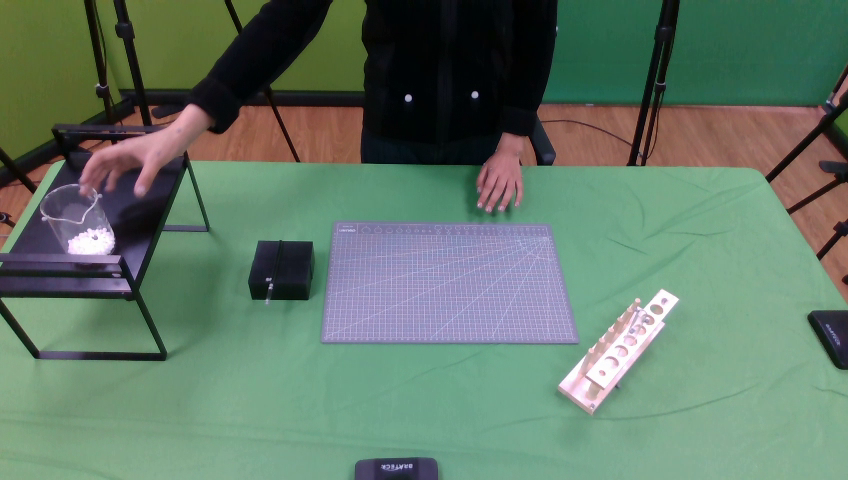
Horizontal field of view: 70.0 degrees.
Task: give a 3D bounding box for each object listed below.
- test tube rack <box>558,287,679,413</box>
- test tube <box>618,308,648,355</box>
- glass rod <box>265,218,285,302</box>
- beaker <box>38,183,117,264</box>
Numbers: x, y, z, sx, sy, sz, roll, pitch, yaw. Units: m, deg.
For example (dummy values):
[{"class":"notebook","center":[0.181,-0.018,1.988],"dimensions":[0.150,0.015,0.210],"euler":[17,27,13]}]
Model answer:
[{"class":"test tube rack","center":[0.326,0.170,1.009],"dimensions":[0.066,0.085,0.242],"euler":[36,54,27]},{"class":"test tube","center":[0.327,0.154,0.956],"dimensions":[0.017,0.151,0.017],"euler":[-1,50,1]},{"class":"glass rod","center":[-0.266,0.031,1.085],"dimensions":[0.008,0.008,0.198],"euler":[1,46,-3]},{"class":"beaker","center":[-0.493,-0.019,0.874],"dimensions":[0.074,0.101,0.083],"euler":[-29,55,-26]}]
